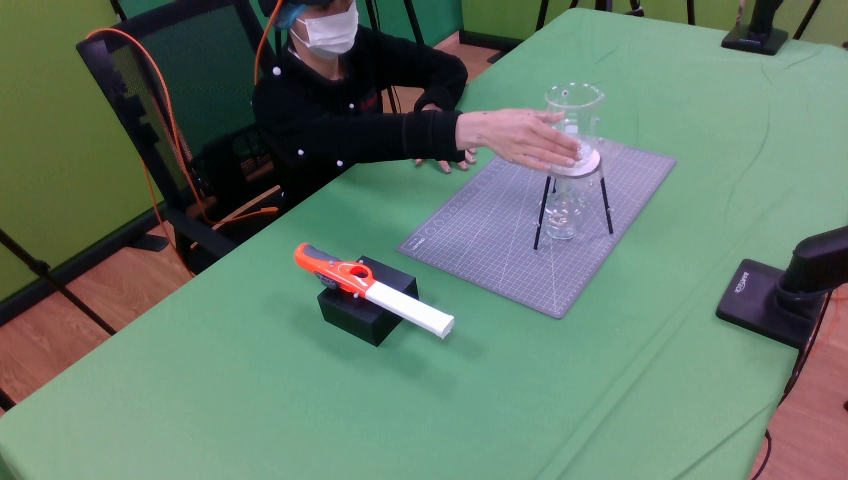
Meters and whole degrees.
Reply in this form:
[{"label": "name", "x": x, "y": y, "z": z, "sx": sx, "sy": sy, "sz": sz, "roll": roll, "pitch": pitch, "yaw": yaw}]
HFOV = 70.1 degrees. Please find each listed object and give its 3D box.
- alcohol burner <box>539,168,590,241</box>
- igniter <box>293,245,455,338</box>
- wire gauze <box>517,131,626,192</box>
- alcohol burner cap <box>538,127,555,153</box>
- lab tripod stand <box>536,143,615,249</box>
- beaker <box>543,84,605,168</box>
[{"label": "alcohol burner", "x": 0.217, "y": -0.059, "z": 0.935, "sx": 0.078, "sy": 0.119, "sz": 0.077, "roll": -6, "pitch": 40, "yaw": 6}, {"label": "igniter", "x": -0.079, "y": 0.065, "z": 0.833, "sx": 0.274, "sy": 0.025, "sz": 0.057, "roll": 23, "pitch": 48, "yaw": 27}, {"label": "wire gauze", "x": 0.217, "y": -0.123, "z": 0.892, "sx": 0.124, "sy": 0.011, "sz": 0.122, "roll": 22, "pitch": 48, "yaw": 31}, {"label": "alcohol burner cap", "x": 0.234, "y": -0.191, "z": 1.147, "sx": 0.034, "sy": 0.048, "sz": 0.033, "roll": -5, "pitch": 40, "yaw": 5}, {"label": "lab tripod stand", "x": 0.224, "y": -0.069, "z": 0.931, "sx": 0.148, "sy": 0.132, "sz": 0.147, "roll": -4, "pitch": 42, "yaw": 4}, {"label": "beaker", "x": 0.212, "y": -0.161, "z": 0.862, "sx": 0.084, "sy": 0.101, "sz": 0.073, "roll": -3, "pitch": 39, "yaw": 5}]
